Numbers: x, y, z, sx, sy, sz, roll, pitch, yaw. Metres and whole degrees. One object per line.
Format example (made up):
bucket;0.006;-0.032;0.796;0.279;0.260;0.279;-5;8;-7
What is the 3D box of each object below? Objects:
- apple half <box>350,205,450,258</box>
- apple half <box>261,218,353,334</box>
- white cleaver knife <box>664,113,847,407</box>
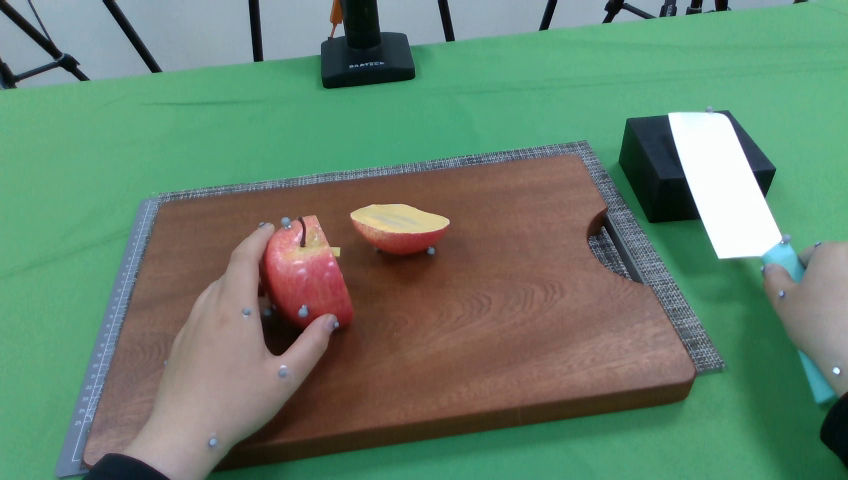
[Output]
apple half;-0.023;-0.002;0.488;0.081;0.033;0.081;6;20;-2
apple half;-0.087;0.031;0.433;0.053;0.075;0.080;-21;48;-13
white cleaver knife;0.258;-0.003;0.488;0.066;0.022;0.283;-9;53;6
